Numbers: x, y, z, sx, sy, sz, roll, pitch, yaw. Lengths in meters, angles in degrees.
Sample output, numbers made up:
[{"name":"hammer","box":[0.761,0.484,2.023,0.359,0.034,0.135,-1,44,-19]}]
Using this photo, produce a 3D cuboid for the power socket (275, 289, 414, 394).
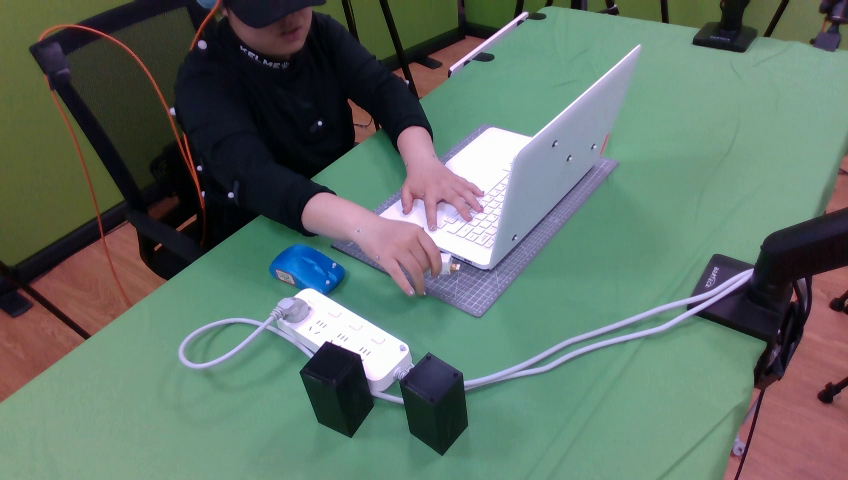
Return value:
[{"name":"power socket","box":[-0.115,0.133,0.820,0.225,0.033,0.072,25,49,32]}]

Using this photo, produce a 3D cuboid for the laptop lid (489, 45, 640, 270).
[{"name":"laptop lid","box":[0.214,-0.125,0.907,0.013,0.242,0.358,33,52,23]}]

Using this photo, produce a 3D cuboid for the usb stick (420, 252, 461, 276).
[{"name":"usb stick","box":[0.025,0.036,0.875,0.059,0.027,0.021,9,40,14]}]

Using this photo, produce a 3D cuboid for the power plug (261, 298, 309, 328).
[{"name":"power plug","box":[-0.192,0.108,0.830,0.073,0.053,0.035,-33,43,-26]}]

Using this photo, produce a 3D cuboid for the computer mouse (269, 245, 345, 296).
[{"name":"computer mouse","box":[-0.182,0.045,0.933,0.116,0.041,0.063,22,47,26]}]

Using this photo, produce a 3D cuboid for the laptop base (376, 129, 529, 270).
[{"name":"laptop base","box":[0.115,-0.086,1.057,0.233,0.023,0.355,21,48,34]}]
